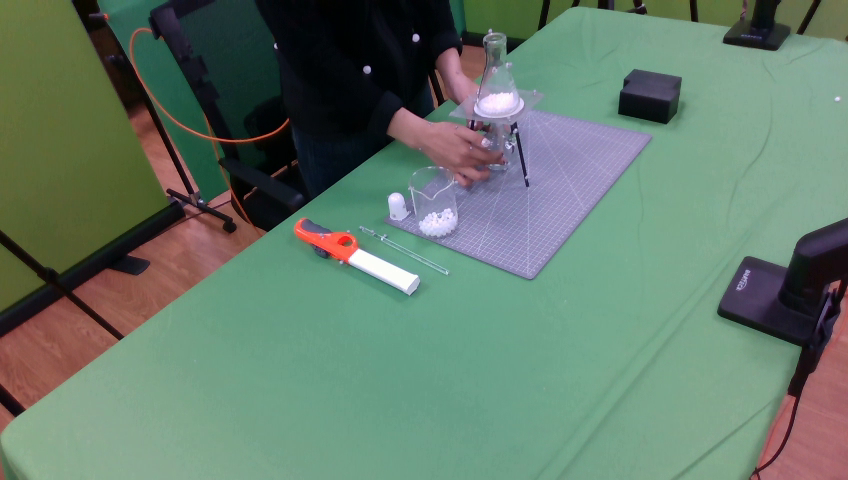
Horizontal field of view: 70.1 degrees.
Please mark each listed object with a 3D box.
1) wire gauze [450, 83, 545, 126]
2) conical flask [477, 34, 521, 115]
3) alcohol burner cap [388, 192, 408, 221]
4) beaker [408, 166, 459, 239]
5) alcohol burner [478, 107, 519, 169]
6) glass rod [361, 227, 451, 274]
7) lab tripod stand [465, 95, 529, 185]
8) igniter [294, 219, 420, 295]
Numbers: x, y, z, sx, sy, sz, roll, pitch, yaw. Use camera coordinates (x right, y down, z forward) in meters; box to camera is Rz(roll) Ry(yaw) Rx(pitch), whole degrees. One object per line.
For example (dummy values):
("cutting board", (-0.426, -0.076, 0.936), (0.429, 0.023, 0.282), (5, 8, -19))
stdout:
("wire gauze", (0.126, -0.232, 1.041), (0.120, 0.011, 0.125), (17, 48, 31))
("conical flask", (0.121, -0.275, 0.999), (0.075, 0.122, 0.075), (-5, 40, 5))
("alcohol burner cap", (-0.047, -0.060, 1.043), (0.034, 0.048, 0.033), (-5, 41, 5))
("beaker", (0.018, -0.058, 0.984), (0.074, 0.101, 0.083), (-6, 41, 6))
("alcohol burner", (0.137, -0.190, 1.107), (0.078, 0.119, 0.077), (-4, 41, 4))
("glass rod", (-0.033, 0.014, 0.985), (0.198, 0.008, 0.008), (26, 52, 34))
("lab tripod stand", (0.138, -0.182, 1.082), (0.148, 0.132, 0.147), (-6, 38, 6))
("igniter", (-0.118, 0.022, 0.977), (0.274, 0.025, 0.057), (24, 60, 34))
